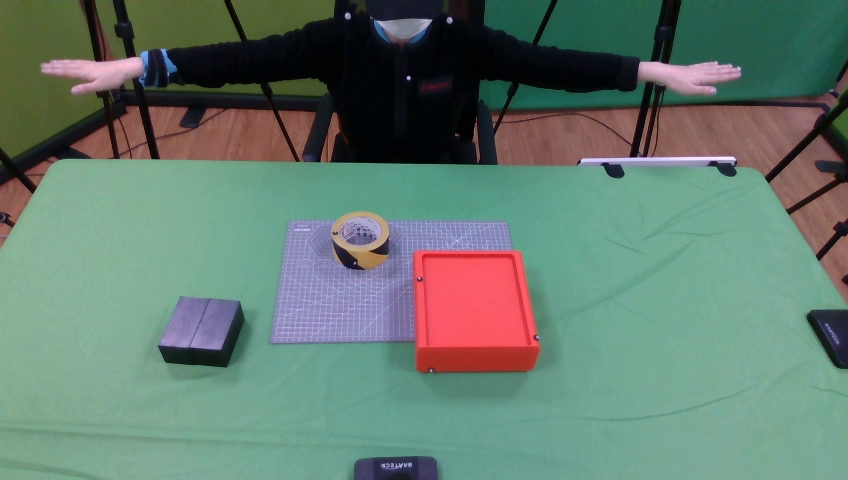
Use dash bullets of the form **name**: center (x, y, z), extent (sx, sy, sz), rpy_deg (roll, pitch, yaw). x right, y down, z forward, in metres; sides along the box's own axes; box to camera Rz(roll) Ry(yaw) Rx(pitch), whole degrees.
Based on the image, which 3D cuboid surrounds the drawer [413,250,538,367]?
- **drawer**: center (0.081, 0.114, 1.047), extent (0.195, 0.073, 0.210), rpy_deg (1, 47, -4)

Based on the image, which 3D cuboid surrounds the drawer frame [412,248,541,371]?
- **drawer frame**: center (0.082, 0.116, 1.046), extent (0.202, 0.083, 0.212), rpy_deg (0, 47, -4)

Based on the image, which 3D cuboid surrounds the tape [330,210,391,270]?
- **tape**: center (-0.123, -0.002, 1.164), extent (0.117, 0.053, 0.116), rpy_deg (3, 46, -3)
